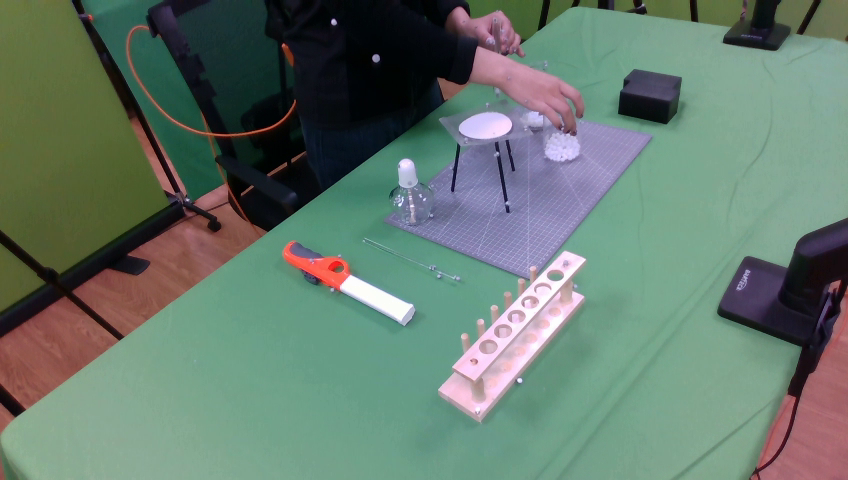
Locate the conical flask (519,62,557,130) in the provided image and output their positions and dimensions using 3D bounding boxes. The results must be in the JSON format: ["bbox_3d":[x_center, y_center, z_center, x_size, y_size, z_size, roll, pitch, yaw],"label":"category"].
[{"bbox_3d":[0.225,-0.287,1.198,0.075,0.122,0.075,-6,40,5],"label":"conical flask"}]

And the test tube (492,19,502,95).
[{"bbox_3d":[0.134,-0.331,1.106,0.017,0.151,0.017,-4,47,5],"label":"test tube"}]

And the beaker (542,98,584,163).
[{"bbox_3d":[0.255,-0.200,1.107,0.073,0.101,0.084,9,43,22],"label":"beaker"}]

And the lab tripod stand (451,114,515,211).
[{"bbox_3d":[0.113,-0.140,1.037,0.148,0.132,0.147,-6,38,5],"label":"lab tripod stand"}]

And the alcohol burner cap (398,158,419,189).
[{"bbox_3d":[-0.027,-0.111,0.989,0.034,0.048,0.033,-3,46,4],"label":"alcohol burner cap"}]

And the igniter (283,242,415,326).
[{"bbox_3d":[-0.126,0.062,0.931,0.274,0.025,0.057,24,61,33],"label":"igniter"}]

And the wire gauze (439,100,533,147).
[{"bbox_3d":[0.100,-0.190,0.994,0.125,0.011,0.120,-15,39,-7],"label":"wire gauze"}]

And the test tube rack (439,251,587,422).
[{"bbox_3d":[0.118,0.111,0.780,0.066,0.085,0.243,26,51,35],"label":"test tube rack"}]

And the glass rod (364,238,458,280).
[{"bbox_3d":[-0.026,0.029,0.966,0.198,0.008,0.008,21,49,35],"label":"glass rod"}]

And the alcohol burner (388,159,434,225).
[{"bbox_3d":[-0.023,-0.084,1.013,0.078,0.119,0.077,-4,38,4],"label":"alcohol burner"}]
